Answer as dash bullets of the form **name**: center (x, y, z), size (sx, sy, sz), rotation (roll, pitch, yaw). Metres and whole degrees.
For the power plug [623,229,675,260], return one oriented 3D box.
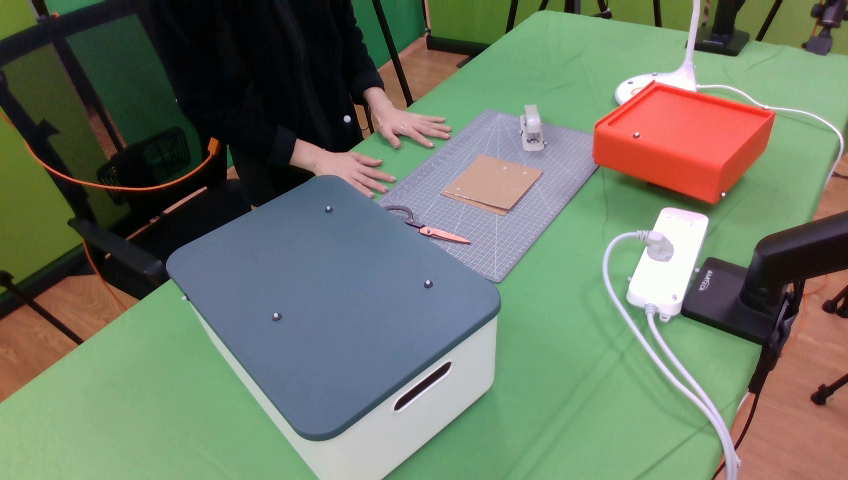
- **power plug**: center (0.327, 0.007, 0.878), size (0.072, 0.053, 0.035), rotation (25, 51, 33)

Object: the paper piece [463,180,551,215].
- **paper piece**: center (0.134, -0.096, 1.092), size (0.136, 0.004, 0.134), rotation (-29, 43, -33)

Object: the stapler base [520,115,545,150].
- **stapler base**: center (0.215, -0.222, 1.201), size (0.041, 0.024, 0.130), rotation (1, 39, 4)

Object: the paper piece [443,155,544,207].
- **paper piece**: center (0.127, -0.109, 1.091), size (0.137, 0.009, 0.136), rotation (19, 42, 30)

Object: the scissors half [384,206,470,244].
- **scissors half**: center (0.001, -0.024, 1.005), size (0.174, 0.013, 0.040), rotation (22, 57, 26)

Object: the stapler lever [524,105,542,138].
- **stapler lever**: center (0.213, -0.242, 1.186), size (0.027, 0.040, 0.117), rotation (0, 40, 4)

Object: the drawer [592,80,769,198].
- **drawer**: center (0.422, -0.174, 1.007), size (0.210, 0.073, 0.195), rotation (30, 52, 35)

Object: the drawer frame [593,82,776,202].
- **drawer frame**: center (0.428, -0.171, 1.006), size (0.211, 0.083, 0.202), rotation (29, 51, 36)

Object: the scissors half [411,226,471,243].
- **scissors half**: center (-0.007, -0.010, 0.993), size (0.174, 0.013, 0.040), rotation (8, 46, 15)

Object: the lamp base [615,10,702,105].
- **lamp base**: center (0.484, -0.364, 1.211), size (0.180, 0.181, 0.159), rotation (-15, 41, -14)

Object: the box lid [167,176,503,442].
- **box lid**: center (-0.119, 0.047, 0.714), size (0.264, 0.015, 0.368), rotation (-32, 47, -27)

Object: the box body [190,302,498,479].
- **box body**: center (-0.110, 0.103, 0.761), size (0.255, 0.161, 0.361), rotation (-33, 46, -27)

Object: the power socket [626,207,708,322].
- **power socket**: center (0.360, 0.026, 0.886), size (0.072, 0.033, 0.227), rotation (16, 46, 26)
